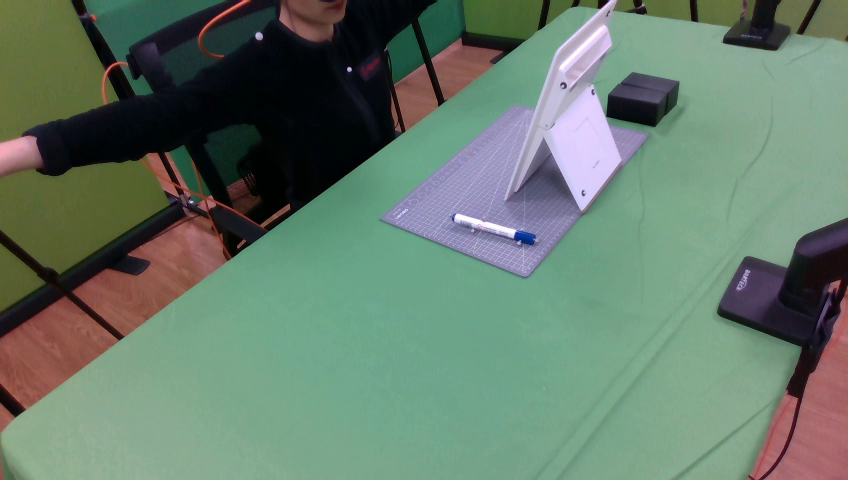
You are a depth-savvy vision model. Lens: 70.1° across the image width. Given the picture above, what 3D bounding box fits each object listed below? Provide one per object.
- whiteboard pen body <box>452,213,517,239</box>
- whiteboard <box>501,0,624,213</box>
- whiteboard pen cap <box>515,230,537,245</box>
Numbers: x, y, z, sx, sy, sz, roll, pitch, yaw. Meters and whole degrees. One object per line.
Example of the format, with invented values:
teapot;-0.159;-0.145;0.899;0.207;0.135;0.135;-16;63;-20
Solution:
whiteboard pen body;0.109;-0.020;0.979;0.140;0.017;0.017;17;47;25
whiteboard;0.271;-0.189;0.977;0.143;0.306;0.218;34;53;16
whiteboard pen cap;0.160;-0.005;0.956;0.033;0.018;0.018;17;47;26
